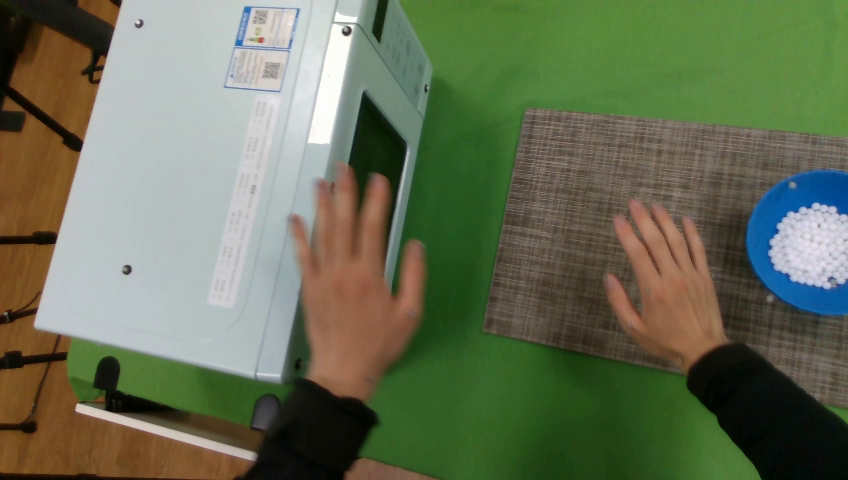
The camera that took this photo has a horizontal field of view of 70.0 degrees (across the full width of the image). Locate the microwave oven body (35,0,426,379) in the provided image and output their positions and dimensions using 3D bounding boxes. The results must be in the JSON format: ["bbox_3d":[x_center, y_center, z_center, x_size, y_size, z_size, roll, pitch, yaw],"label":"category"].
[{"bbox_3d":[-0.209,-0.078,0.740,0.325,0.262,0.440,8,82,16],"label":"microwave oven body"}]

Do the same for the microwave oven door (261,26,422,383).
[{"bbox_3d":[-0.080,-0.019,0.687,0.039,0.245,0.354,7,81,17],"label":"microwave oven door"}]

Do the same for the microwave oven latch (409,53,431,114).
[{"bbox_3d":[-0.010,-0.211,0.813,0.030,0.030,0.079,8,82,17],"label":"microwave oven latch"}]

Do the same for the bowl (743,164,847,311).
[{"bbox_3d":[0.415,0.005,0.645,0.151,0.077,0.150,-3,79,15],"label":"bowl"}]
